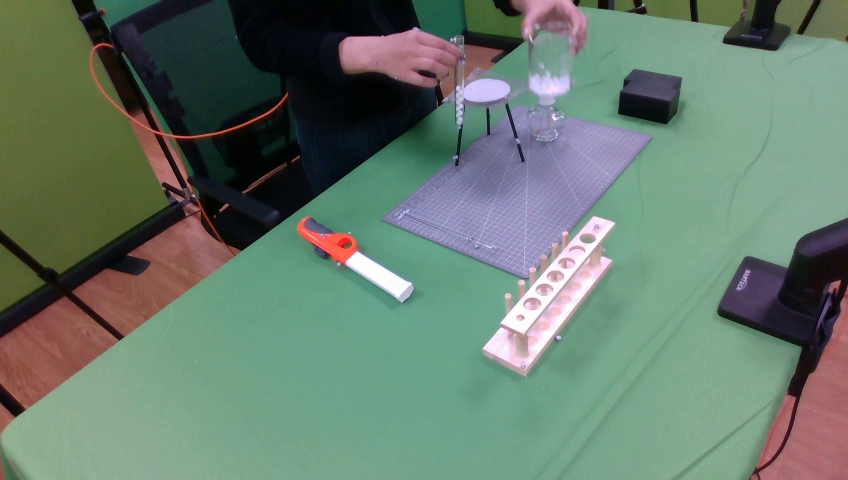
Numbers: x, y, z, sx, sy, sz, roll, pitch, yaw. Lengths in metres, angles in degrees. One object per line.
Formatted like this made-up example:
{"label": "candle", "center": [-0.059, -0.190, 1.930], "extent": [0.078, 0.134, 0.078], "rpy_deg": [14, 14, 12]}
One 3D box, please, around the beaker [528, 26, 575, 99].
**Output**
{"label": "beaker", "center": [0.204, -0.285, 0.980], "extent": [0.084, 0.100, 0.073], "rpy_deg": [-33, 40, -33]}

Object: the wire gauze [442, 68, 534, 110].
{"label": "wire gauze", "center": [0.114, -0.269, 1.081], "extent": [0.120, 0.011, 0.125], "rpy_deg": [21, 49, 29]}

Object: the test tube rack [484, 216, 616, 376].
{"label": "test tube rack", "center": [0.174, 0.064, 0.823], "extent": [0.066, 0.085, 0.243], "rpy_deg": [23, 49, 33]}

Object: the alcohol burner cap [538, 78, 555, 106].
{"label": "alcohol burner cap", "center": [0.229, -0.279, 1.136], "extent": [0.034, 0.048, 0.033], "rpy_deg": [-6, 34, 5]}

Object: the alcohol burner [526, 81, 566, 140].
{"label": "alcohol burner", "center": [0.234, -0.252, 1.159], "extent": [0.078, 0.119, 0.077], "rpy_deg": [-4, 42, 4]}

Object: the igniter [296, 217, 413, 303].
{"label": "igniter", "center": [-0.121, 0.025, 0.970], "extent": [0.274, 0.025, 0.057], "rpy_deg": [29, 63, 37]}

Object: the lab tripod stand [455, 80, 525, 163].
{"label": "lab tripod stand", "center": [0.120, -0.219, 1.126], "extent": [0.148, 0.132, 0.147], "rpy_deg": [-4, 40, 4]}

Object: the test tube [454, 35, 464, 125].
{"label": "test tube", "center": [0.057, -0.256, 0.981], "extent": [0.017, 0.151, 0.017], "rpy_deg": [-1, 37, 2]}

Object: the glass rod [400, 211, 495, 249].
{"label": "glass rod", "center": [0.035, -0.018, 1.001], "extent": [0.198, 0.008, 0.008], "rpy_deg": [22, 49, 35]}
